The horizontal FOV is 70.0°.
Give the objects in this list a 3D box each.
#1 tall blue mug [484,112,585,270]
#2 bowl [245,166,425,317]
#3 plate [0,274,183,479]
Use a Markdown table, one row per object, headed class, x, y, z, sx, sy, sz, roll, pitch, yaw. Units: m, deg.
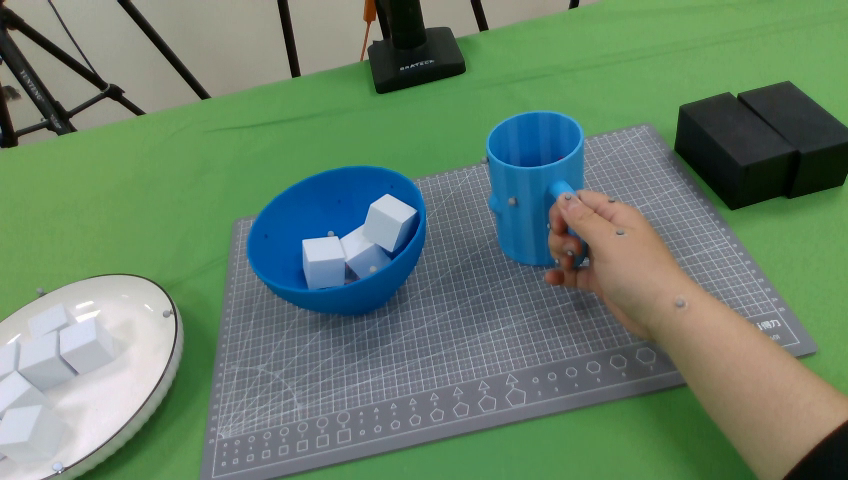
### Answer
| class | x | y | z | sx | sy | sz | roll | pitch | yaw |
| --- | --- | --- | --- | --- | --- | --- | --- | --- | --- |
| tall blue mug | 0.104 | -0.034 | 0.502 | 0.106 | 0.109 | 0.077 | 29 | 58 | 35 |
| bowl | -0.067 | 0.013 | 0.520 | 0.151 | 0.077 | 0.150 | -7 | 44 | 7 |
| plate | -0.300 | 0.117 | 0.506 | 0.209 | 0.038 | 0.207 | -6 | 44 | 7 |
